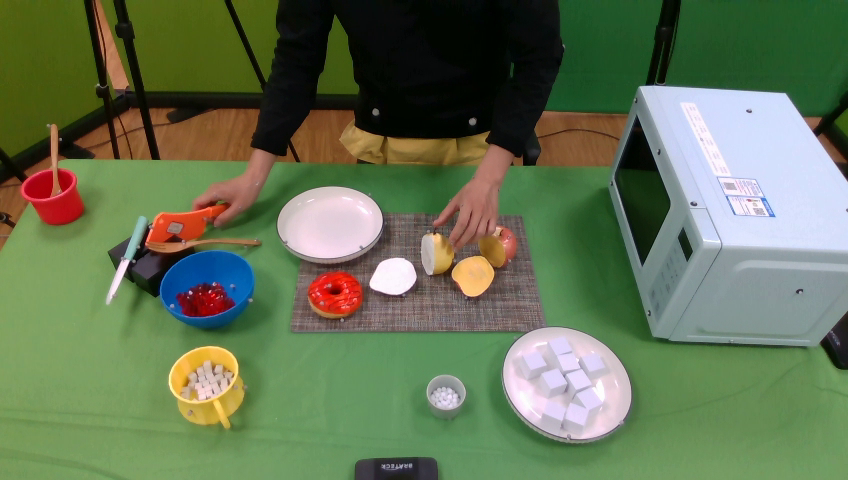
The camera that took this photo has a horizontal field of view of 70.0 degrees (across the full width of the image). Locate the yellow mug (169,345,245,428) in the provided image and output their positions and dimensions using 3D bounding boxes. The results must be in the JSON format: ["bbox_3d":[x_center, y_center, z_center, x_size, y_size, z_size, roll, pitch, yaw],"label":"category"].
[{"bbox_3d":[-0.322,0.230,0.922,0.100,0.064,0.130,-24,53,-25],"label":"yellow mug"}]

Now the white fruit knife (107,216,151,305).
[{"bbox_3d":[-0.518,0.032,1.066,0.027,0.016,0.206,-18,45,19],"label":"white fruit knife"}]

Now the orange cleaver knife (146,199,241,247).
[{"bbox_3d":[-0.435,-0.034,1.156,0.012,0.077,0.211,31,27,19],"label":"orange cleaver knife"}]

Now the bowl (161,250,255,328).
[{"bbox_3d":[-0.362,0.097,1.040,0.151,0.077,0.150,2,45,-2],"label":"bowl"}]

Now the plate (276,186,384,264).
[{"bbox_3d":[-0.184,-0.027,1.194,0.209,0.038,0.208,2,46,-2],"label":"plate"}]

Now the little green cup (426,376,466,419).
[{"bbox_3d":[0.033,0.248,0.950,0.061,0.039,0.061,2,46,-2],"label":"little green cup"}]

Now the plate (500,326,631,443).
[{"bbox_3d":[0.224,0.234,0.978,0.208,0.039,0.206,2,46,-2],"label":"plate"}]

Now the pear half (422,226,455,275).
[{"bbox_3d":[0.030,0.012,1.122,0.056,0.110,0.076,-16,52,-19],"label":"pear half"}]

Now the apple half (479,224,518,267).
[{"bbox_3d":[0.148,0.008,1.160,0.053,0.075,0.080,-24,48,-30],"label":"apple half"}]

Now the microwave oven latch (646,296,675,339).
[{"bbox_3d":[0.412,0.134,1.061,0.030,0.029,0.078,4,45,1],"label":"microwave oven latch"}]

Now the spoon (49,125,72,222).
[{"bbox_3d":[-0.717,-0.132,1.189,0.042,0.021,0.193,-3,90,-7],"label":"spoon"}]

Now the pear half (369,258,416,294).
[{"bbox_3d":[-0.058,0.072,1.112,0.088,0.031,0.070,-23,64,-12],"label":"pear half"}]

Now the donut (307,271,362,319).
[{"bbox_3d":[-0.157,0.097,1.073,0.099,0.048,0.098,4,45,-4],"label":"donut"}]

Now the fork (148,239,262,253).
[{"bbox_3d":[-0.398,0.008,1.117,0.208,0.019,0.028,-5,35,-37],"label":"fork"}]

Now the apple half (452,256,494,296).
[{"bbox_3d":[0.095,0.070,1.120,0.081,0.033,0.081,-7,63,14],"label":"apple half"}]

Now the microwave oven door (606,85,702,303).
[{"bbox_3d":[0.423,-0.094,1.140,0.039,0.245,0.353,2,46,-1],"label":"microwave oven door"}]

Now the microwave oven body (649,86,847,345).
[{"bbox_3d":[0.567,-0.053,1.118,0.326,0.261,0.439,2,45,-1],"label":"microwave oven body"}]
